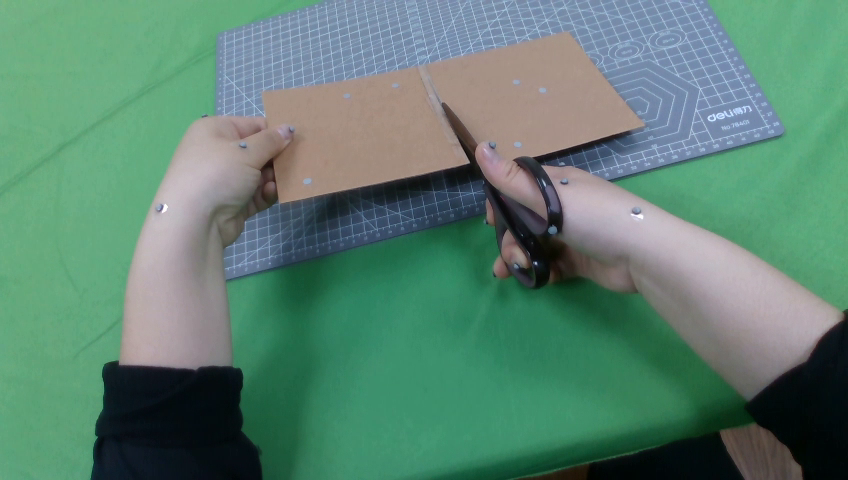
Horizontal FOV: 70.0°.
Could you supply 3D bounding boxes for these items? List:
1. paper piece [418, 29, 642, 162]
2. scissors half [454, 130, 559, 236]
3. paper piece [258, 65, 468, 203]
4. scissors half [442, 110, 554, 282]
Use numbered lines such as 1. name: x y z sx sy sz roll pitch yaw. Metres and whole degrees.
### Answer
1. paper piece: 0.078 -0.119 0.481 0.135 0.004 0.134 -16 53 -8
2. scissors half: 0.042 -0.055 0.408 0.013 0.040 0.173 -15 32 -16
3. paper piece: -0.052 -0.087 0.458 0.138 0.009 0.134 -14 44 -7
4. scissors half: 0.043 -0.039 0.423 0.013 0.040 0.173 -18 57 -12
